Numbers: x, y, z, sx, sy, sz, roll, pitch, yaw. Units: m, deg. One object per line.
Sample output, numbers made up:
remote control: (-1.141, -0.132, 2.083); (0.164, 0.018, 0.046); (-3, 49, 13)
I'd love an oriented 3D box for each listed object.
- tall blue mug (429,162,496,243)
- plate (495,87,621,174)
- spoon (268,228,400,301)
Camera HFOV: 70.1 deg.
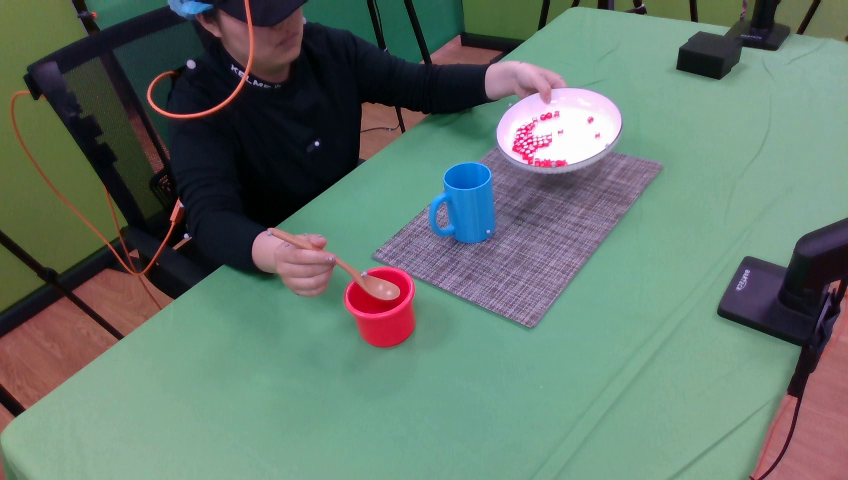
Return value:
tall blue mug: (0.066, -0.051, 0.960); (0.077, 0.108, 0.107); (17, 47, 28)
plate: (0.226, -0.181, 1.027); (0.207, 0.039, 0.206); (-8, 48, 10)
spoon: (-0.115, 0.030, 0.795); (0.195, 0.021, 0.041); (33, 32, -19)
